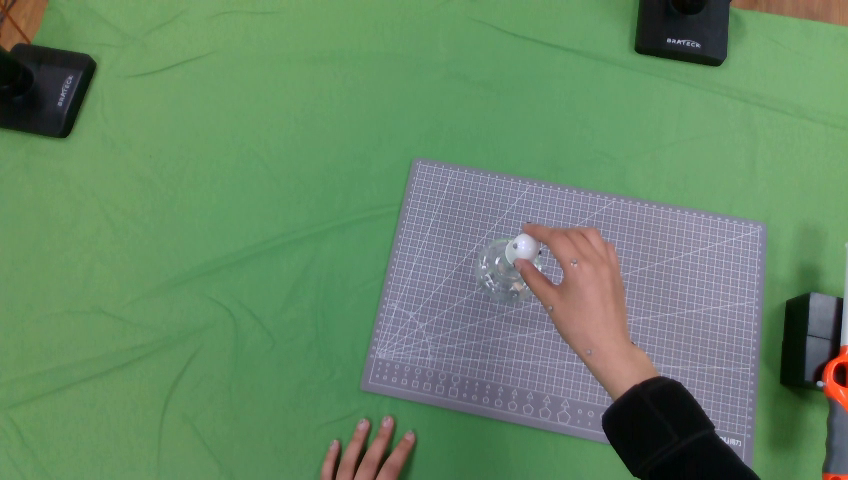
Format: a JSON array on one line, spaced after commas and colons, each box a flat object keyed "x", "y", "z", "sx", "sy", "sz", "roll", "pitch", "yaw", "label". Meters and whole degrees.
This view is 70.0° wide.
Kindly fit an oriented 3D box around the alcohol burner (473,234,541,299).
[{"x": 0.096, "y": 0.026, "z": 0.682, "sx": 0.078, "sy": 0.119, "sz": 0.077, "roll": 1, "pitch": 73, "yaw": -2, "label": "alcohol burner"}]

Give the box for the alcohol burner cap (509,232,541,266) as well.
[{"x": 0.103, "y": 0.008, "z": 0.614, "sx": 0.034, "sy": 0.048, "sz": 0.033, "roll": -1, "pitch": 82, "yaw": 7, "label": "alcohol burner cap"}]

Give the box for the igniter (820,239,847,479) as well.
[{"x": 0.462, "y": 0.126, "z": 0.654, "sx": 0.057, "sy": 0.025, "sz": 0.275, "roll": 15, "pitch": 73, "yaw": 7, "label": "igniter"}]
